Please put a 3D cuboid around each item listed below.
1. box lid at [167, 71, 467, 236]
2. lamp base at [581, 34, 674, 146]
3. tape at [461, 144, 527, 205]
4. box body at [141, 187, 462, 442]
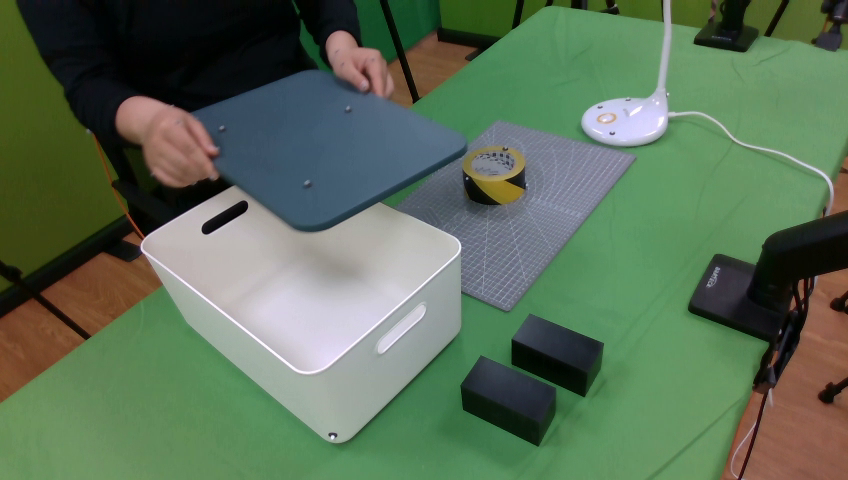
[{"bbox_3d":[-0.151,-0.135,0.805,0.264,0.015,0.368,-32,46,-30],"label":"box lid"},{"bbox_3d":[0.392,-0.291,1.129,0.180,0.181,0.159,-11,41,-8],"label":"lamp base"},{"bbox_3d":[0.124,-0.116,1.058,0.117,0.053,0.116,-4,42,4],"label":"tape"},{"bbox_3d":[-0.153,0.063,0.809,0.361,0.161,0.255,27,51,33],"label":"box body"}]
